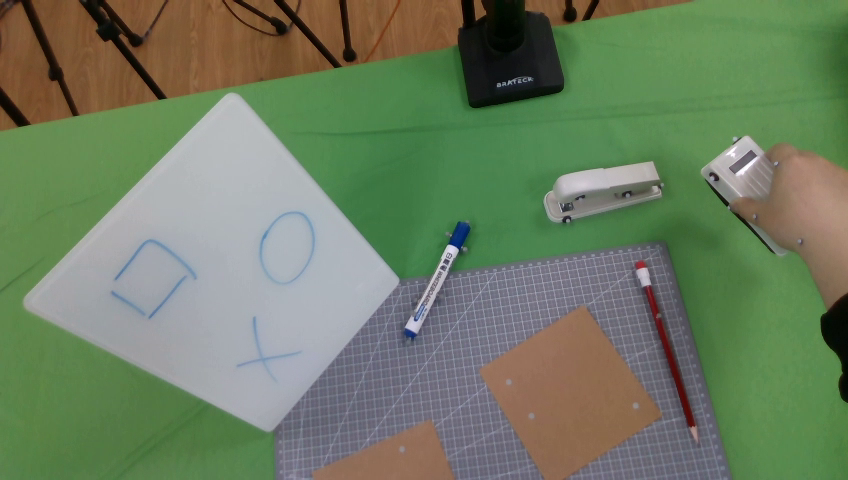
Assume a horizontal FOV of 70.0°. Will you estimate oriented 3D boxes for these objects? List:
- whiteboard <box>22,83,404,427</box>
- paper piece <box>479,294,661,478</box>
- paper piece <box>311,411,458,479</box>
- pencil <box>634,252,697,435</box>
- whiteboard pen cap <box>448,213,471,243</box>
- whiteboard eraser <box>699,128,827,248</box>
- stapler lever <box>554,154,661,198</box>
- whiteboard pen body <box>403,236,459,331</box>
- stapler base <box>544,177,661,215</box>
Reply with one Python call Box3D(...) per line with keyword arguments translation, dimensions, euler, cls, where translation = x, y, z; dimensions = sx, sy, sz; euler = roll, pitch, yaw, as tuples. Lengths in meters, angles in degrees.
Box3D(translation=(-0.195, 0.012, 0.596), dimensions=(0.217, 0.309, 0.142), euler=(-48, 50, -10), cls="whiteboard")
Box3D(translation=(0.148, 0.148, 0.626), dimensions=(0.136, 0.009, 0.137), euler=(-31, 71, 0), cls="paper piece")
Box3D(translation=(-0.030, 0.261, 0.608), dimensions=(0.135, 0.004, 0.134), euler=(-22, 70, -3), cls="paper piece")
Box3D(translation=(0.250, 0.103, 0.627), dimensions=(0.012, 0.012, 0.192), euler=(-13, 71, 3), cls="pencil")
Box3D(translation=(0.040, -0.013, 0.693), dimensions=(0.018, 0.018, 0.033), euler=(21, 73, 15), cls="whiteboard pen cap")
Box3D(translation=(0.325, -0.050, 0.587), dimensions=(0.055, 0.042, 0.112), euler=(-39, 79, -3), cls="whiteboard eraser")
Box3D(translation=(0.202, -0.073, 0.668), dimensions=(0.118, 0.040, 0.026), euler=(-14, 71, 2), cls="stapler lever")
Box3D(translation=(0.014, 0.037, 0.679), dimensions=(0.017, 0.017, 0.140), euler=(24, 74, 15), cls="whiteboard pen body")
Box3D(translation=(0.204, -0.064, 0.691), dimensions=(0.130, 0.024, 0.041), euler=(-14, 71, 0), cls="stapler base")
